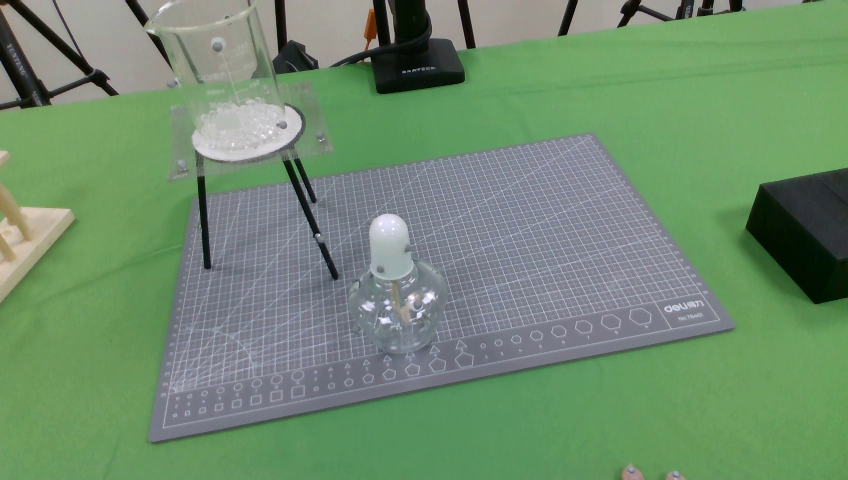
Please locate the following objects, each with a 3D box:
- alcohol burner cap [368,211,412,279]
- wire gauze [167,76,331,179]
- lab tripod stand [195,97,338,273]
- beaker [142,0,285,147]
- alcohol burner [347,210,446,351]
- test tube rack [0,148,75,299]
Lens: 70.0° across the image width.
[{"bbox_3d":[-0.026,0.002,0.433,0.034,0.048,0.033,-1,39,1],"label":"alcohol burner cap"},{"bbox_3d":[-0.145,-0.093,0.491,0.125,0.011,0.120,-16,41,-7],"label":"wire gauze"},{"bbox_3d":[-0.140,-0.045,0.535,0.148,0.133,0.147,-3,44,3],"label":"lab tripod stand"},{"bbox_3d":[-0.153,-0.128,0.457,0.084,0.101,0.073,-14,43,-8],"label":"beaker"},{"bbox_3d":[-0.023,0.028,0.458,0.078,0.120,0.077,-4,40,3],"label":"alcohol burner"},{"bbox_3d":[-0.424,0.021,0.532,0.066,0.086,0.240,3,43,9],"label":"test tube rack"}]
